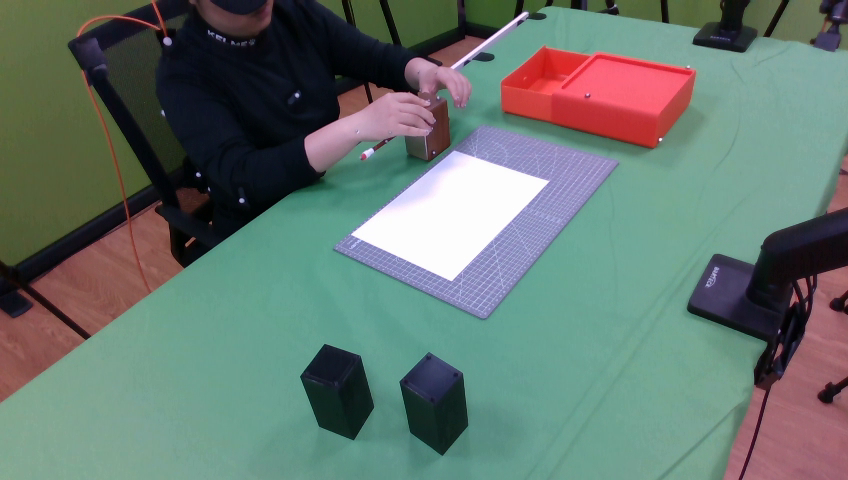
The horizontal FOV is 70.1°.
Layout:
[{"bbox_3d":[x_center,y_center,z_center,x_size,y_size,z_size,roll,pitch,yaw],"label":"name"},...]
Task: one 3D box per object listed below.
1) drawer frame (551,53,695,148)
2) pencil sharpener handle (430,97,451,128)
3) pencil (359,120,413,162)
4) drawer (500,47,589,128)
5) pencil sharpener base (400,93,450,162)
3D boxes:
[{"bbox_3d":[0.391,-0.281,1.196,0.212,0.083,0.202,22,48,30],"label":"drawer frame"},{"bbox_3d":[0.037,-0.253,1.180,0.035,0.068,0.031,24,49,33],"label":"pencil sharpener handle"},{"bbox_3d":[-0.052,-0.194,1.099,0.012,0.012,0.194,23,50,31],"label":"pencil"},{"bbox_3d":[0.295,-0.316,1.255,0.210,0.073,0.195,22,47,29],"label":"drawer"},{"bbox_3d":[0.006,-0.216,1.159,0.061,0.107,0.077,25,49,32],"label":"pencil sharpener base"}]
